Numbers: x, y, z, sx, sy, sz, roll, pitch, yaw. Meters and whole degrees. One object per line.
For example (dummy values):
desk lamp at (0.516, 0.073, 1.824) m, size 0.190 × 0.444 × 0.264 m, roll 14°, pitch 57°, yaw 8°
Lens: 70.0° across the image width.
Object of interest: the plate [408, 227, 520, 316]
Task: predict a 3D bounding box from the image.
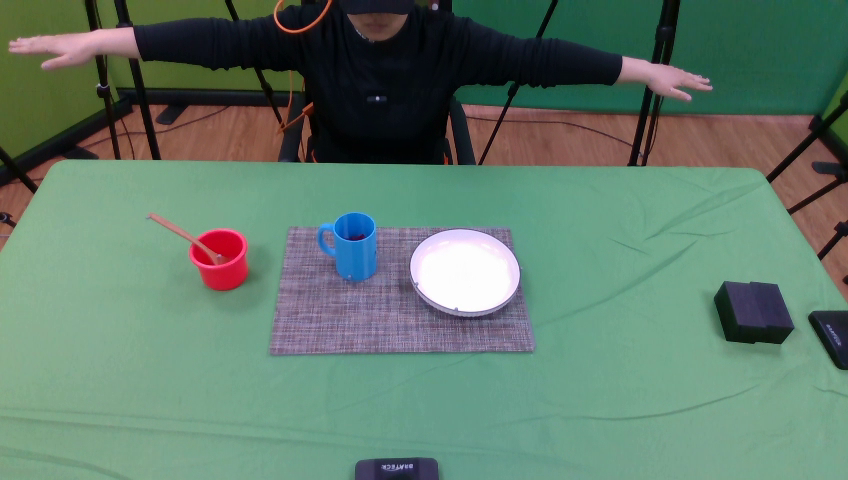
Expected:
plate at (0.073, 0.062, 1.128) m, size 0.208 × 0.039 × 0.206 m, roll 2°, pitch 46°, yaw -2°

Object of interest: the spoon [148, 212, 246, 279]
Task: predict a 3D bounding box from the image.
spoon at (-0.400, 0.009, 1.076) m, size 0.194 × 0.021 × 0.041 m, roll 42°, pitch 37°, yaw -25°

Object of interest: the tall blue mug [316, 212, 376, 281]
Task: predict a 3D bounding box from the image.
tall blue mug at (-0.142, 0.014, 1.109) m, size 0.107 × 0.108 × 0.077 m, roll -5°, pitch 47°, yaw -8°
